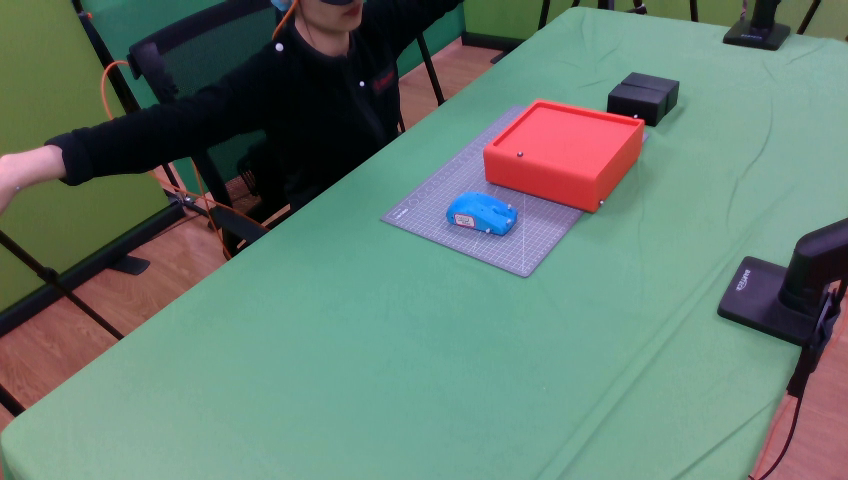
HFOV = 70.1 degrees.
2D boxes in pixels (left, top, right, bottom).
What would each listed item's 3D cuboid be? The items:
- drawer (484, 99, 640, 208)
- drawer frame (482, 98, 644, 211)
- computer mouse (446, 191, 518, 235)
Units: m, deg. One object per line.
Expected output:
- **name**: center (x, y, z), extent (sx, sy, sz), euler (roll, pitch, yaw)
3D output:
- **drawer**: center (0.244, -0.158, 1.073), extent (0.210, 0.073, 0.195), euler (22, 48, 31)
- **drawer frame**: center (0.246, -0.158, 1.071), extent (0.212, 0.083, 0.202), euler (21, 48, 30)
- **computer mouse**: center (0.096, -0.048, 1.004), extent (0.116, 0.041, 0.063), euler (18, 45, 23)
